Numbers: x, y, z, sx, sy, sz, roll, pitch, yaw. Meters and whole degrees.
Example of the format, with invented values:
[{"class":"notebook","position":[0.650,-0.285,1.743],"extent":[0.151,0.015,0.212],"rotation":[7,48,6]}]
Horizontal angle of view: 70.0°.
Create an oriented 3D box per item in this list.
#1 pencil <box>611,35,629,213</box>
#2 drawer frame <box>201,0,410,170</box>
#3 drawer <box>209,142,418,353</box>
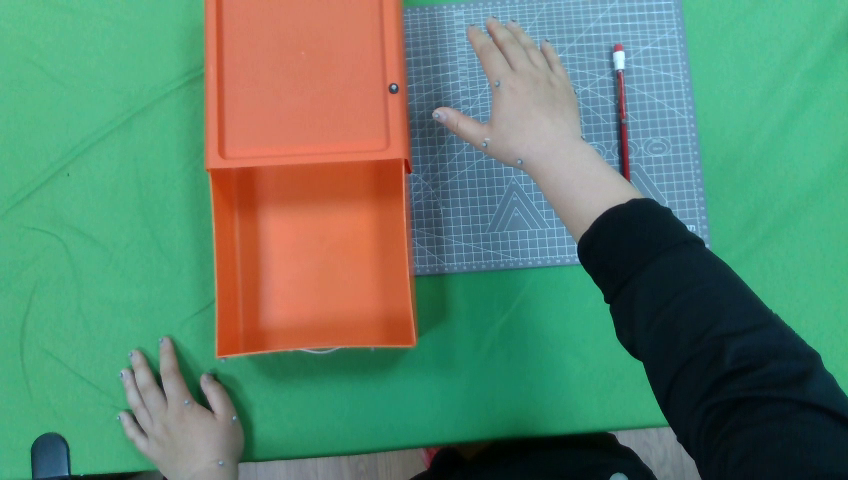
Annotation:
[{"class":"pencil","position":[0.212,-0.125,0.651],"extent":[0.012,0.012,0.193],"rotation":[-2,87,2]},{"class":"drawer frame","position":[-0.121,-0.175,0.630],"extent":[0.201,0.083,0.213],"rotation":[-4,84,3]},{"class":"drawer","position":[-0.110,0.004,0.619],"extent":[0.194,0.073,0.211],"rotation":[-4,87,2]}]
